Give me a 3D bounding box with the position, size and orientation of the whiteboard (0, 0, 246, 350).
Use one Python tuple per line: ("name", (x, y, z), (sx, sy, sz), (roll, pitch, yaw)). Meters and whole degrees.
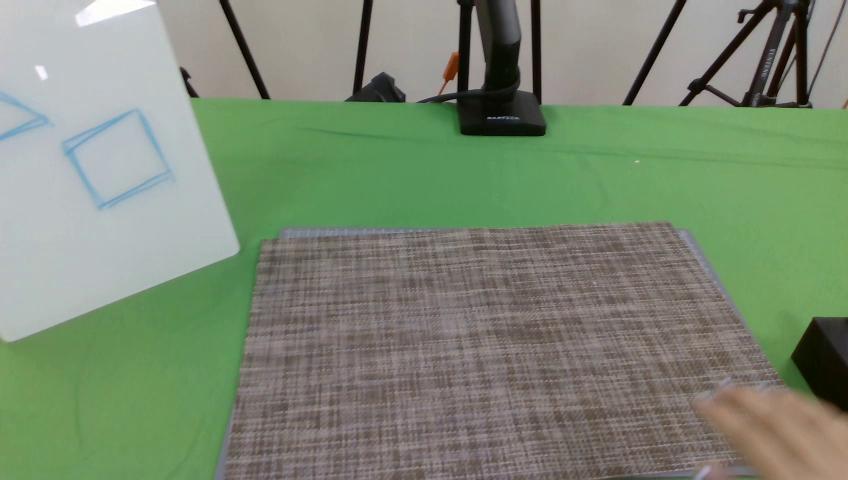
("whiteboard", (-0.334, -0.097, 0.564), (0.217, 0.307, 0.142), (-24, 26, -29))
